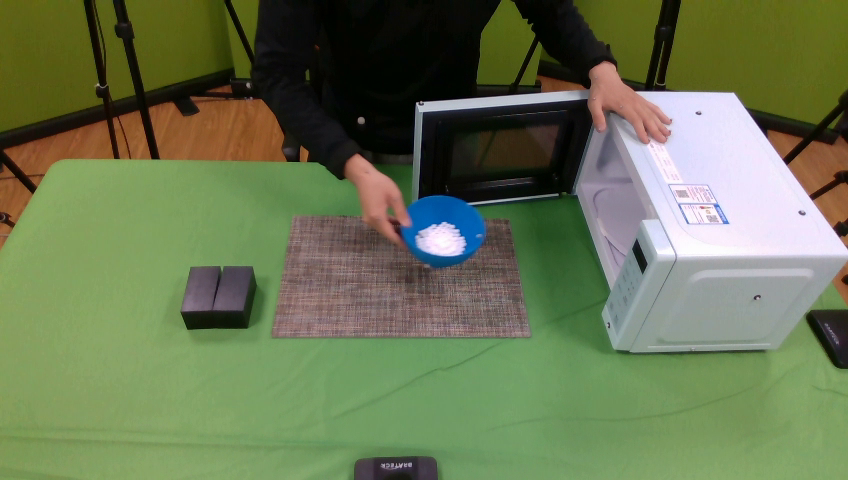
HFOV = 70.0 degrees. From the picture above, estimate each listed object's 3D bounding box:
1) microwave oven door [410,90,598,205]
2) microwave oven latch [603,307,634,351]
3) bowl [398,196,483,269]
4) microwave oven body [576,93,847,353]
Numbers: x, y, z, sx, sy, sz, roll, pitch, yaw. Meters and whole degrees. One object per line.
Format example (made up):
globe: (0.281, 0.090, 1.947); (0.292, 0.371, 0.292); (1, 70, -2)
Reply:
microwave oven door: (0.153, -0.176, 1.208); (0.356, 0.245, 0.039); (-7, 46, -11)
microwave oven latch: (0.332, 0.153, 1.044); (0.030, 0.029, 0.078); (0, 45, -3)
bowl: (0.025, -0.001, 1.093); (0.151, 0.077, 0.150); (4, 48, -5)
microwave oven body: (0.475, -0.041, 1.109); (0.326, 0.261, 0.438); (-1, 45, -4)
